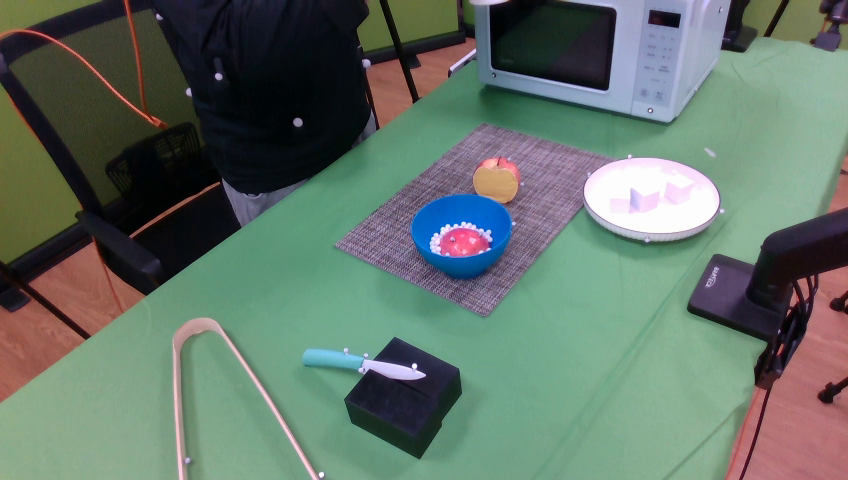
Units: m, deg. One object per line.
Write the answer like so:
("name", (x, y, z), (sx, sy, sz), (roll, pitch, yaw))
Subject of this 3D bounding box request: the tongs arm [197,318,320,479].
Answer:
("tongs arm", (-0.200, 0.208, 0.751), (0.028, 0.028, 0.384), (-31, 45, -22))

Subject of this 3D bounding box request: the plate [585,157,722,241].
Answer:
("plate", (0.367, -0.063, 0.979), (0.207, 0.039, 0.206), (-4, 41, 4))

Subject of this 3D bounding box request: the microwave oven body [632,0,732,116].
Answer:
("microwave oven body", (0.377, -0.462, 1.267), (0.438, 0.261, 0.327), (21, 48, 30))

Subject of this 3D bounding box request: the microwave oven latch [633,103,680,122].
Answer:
("microwave oven latch", (0.443, -0.249, 1.157), (0.078, 0.029, 0.030), (19, 48, 29))

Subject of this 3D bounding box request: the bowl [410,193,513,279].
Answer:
("bowl", (0.058, 0.005, 0.905), (0.151, 0.077, 0.150), (-4, 40, 3))

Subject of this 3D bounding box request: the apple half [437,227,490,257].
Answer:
("apple half", (0.056, 0.002, 0.902), (0.081, 0.033, 0.081), (-3, 42, 3))

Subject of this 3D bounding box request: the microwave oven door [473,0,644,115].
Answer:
("microwave oven door", (0.257, -0.396, 1.199), (0.353, 0.245, 0.039), (21, 48, 29))

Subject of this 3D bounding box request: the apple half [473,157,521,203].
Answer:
("apple half", (0.128, -0.107, 1.030), (0.080, 0.075, 0.053), (4, 38, 19))

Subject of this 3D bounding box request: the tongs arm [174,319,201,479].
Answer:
("tongs arm", (-0.272, 0.234, 0.723), (0.051, 0.026, 0.381), (-18, 40, -15))

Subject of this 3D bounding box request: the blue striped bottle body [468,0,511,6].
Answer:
("blue striped bottle body", (0.082, -0.371, 0.780), (0.063, 0.121, 0.063), (-7, 32, 5))

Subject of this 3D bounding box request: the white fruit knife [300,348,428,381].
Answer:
("white fruit knife", (-0.080, 0.154, 0.748), (0.206, 0.027, 0.016), (1, 20, 34))
